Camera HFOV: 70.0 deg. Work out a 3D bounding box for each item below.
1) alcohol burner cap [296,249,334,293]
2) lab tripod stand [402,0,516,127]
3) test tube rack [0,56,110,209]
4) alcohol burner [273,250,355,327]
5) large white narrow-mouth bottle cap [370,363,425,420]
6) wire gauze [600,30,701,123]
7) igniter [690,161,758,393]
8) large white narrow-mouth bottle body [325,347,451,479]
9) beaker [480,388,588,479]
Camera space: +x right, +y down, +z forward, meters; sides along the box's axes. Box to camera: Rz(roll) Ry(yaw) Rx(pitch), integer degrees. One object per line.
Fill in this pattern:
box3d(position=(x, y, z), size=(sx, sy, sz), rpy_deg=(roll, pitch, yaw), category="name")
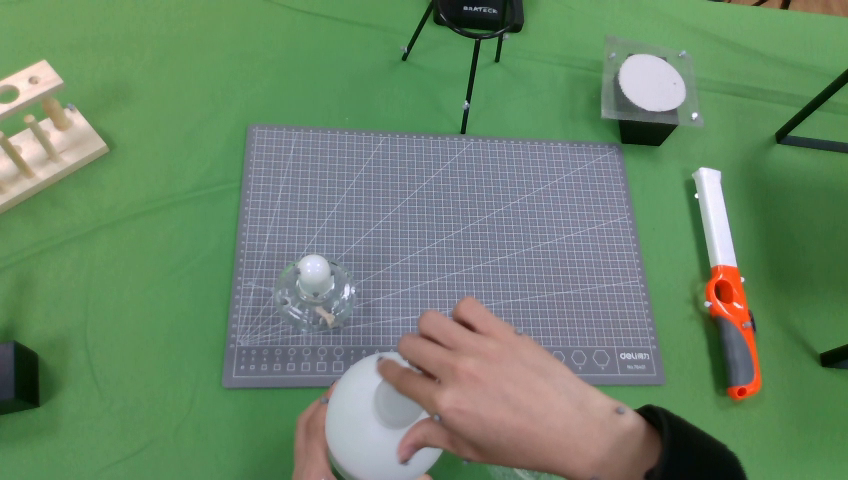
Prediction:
box3d(position=(-0.098, 0.026, 0.536), size=(0.034, 0.048, 0.033), rpy_deg=(2, 71, -5), category="alcohol burner cap")
box3d(position=(0.048, -0.228, 0.700), size=(0.149, 0.132, 0.147), rpy_deg=(4, 67, -9), category="lab tripod stand")
box3d(position=(-0.444, -0.072, 0.581), size=(0.242, 0.085, 0.066), rpy_deg=(-38, 77, -21), category="test tube rack")
box3d(position=(-0.103, 0.039, 0.569), size=(0.078, 0.119, 0.077), rpy_deg=(4, 65, -9), category="alcohol burner")
box3d(position=(-0.018, 0.103, 0.411), size=(0.038, 0.024, 0.037), rpy_deg=(3, 66, -7), category="large white narrow-mouth bottle cap")
box3d(position=(0.274, -0.198, 0.738), size=(0.121, 0.011, 0.124), rpy_deg=(9, 65, -5), category="wire gauze")
box3d(position=(0.340, 0.035, 0.690), size=(0.057, 0.025, 0.274), rpy_deg=(8, 66, -17), category="igniter")
box3d(position=(-0.030, 0.142, 0.495), size=(0.102, 0.195, 0.101), rpy_deg=(3, 66, -7), category="large white narrow-mouth bottle body")
box3d(position=(0.092, 0.180, 0.550), size=(0.084, 0.101, 0.073), rpy_deg=(7, 65, -5), category="beaker")
